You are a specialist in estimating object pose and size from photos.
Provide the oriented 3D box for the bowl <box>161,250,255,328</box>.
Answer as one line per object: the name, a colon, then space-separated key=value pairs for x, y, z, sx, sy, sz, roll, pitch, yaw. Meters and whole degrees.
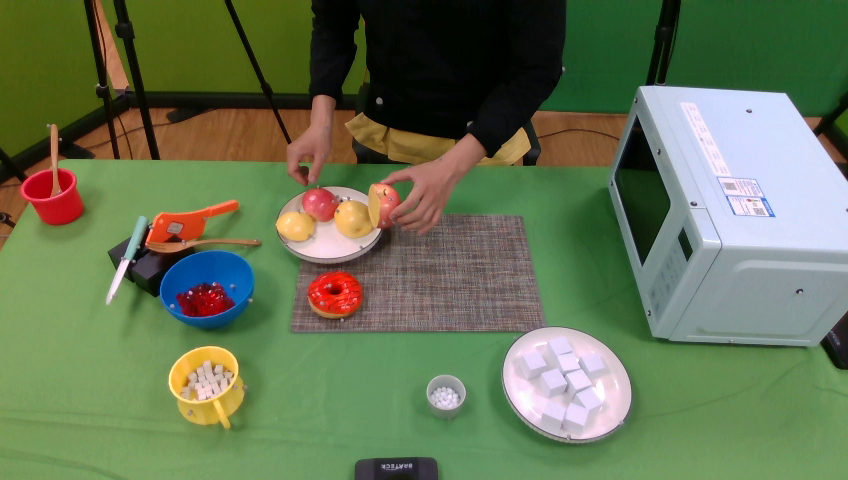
bowl: x=-0.362 y=0.097 z=1.040 sx=0.151 sy=0.077 sz=0.150 roll=2 pitch=45 yaw=-2

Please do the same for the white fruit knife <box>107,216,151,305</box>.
white fruit knife: x=-0.518 y=0.032 z=1.066 sx=0.027 sy=0.016 sz=0.206 roll=-18 pitch=45 yaw=19

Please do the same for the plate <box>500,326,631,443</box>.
plate: x=0.224 y=0.233 z=0.978 sx=0.208 sy=0.039 sz=0.206 roll=2 pitch=46 yaw=-2

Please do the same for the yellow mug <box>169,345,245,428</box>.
yellow mug: x=-0.322 y=0.230 z=0.922 sx=0.100 sy=0.064 sz=0.130 roll=-24 pitch=53 yaw=-25

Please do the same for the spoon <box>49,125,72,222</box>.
spoon: x=-0.717 y=-0.132 z=1.189 sx=0.042 sy=0.021 sz=0.193 roll=-3 pitch=90 yaw=-7

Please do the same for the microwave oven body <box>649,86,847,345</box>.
microwave oven body: x=0.567 y=-0.053 z=1.118 sx=0.326 sy=0.261 sz=0.439 roll=2 pitch=45 yaw=-1

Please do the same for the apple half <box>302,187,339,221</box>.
apple half: x=-0.204 y=-0.077 z=1.216 sx=0.081 sy=0.033 sz=0.081 roll=19 pitch=47 yaw=-20

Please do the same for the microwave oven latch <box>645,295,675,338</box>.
microwave oven latch: x=0.412 y=0.134 z=1.061 sx=0.030 sy=0.029 sz=0.078 roll=3 pitch=45 yaw=0

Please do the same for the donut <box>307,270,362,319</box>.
donut: x=-0.157 y=0.097 z=1.073 sx=0.099 sy=0.048 sz=0.098 roll=4 pitch=46 yaw=-4

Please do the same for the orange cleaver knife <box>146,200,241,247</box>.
orange cleaver knife: x=-0.435 y=-0.033 z=1.157 sx=0.012 sy=0.077 sz=0.211 roll=31 pitch=26 yaw=19

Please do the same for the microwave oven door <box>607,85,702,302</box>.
microwave oven door: x=0.423 y=-0.094 z=1.140 sx=0.039 sy=0.245 sz=0.353 roll=2 pitch=46 yaw=-1

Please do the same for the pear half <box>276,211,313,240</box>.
pear half: x=-0.244 y=-0.036 z=1.179 sx=0.070 sy=0.031 sz=0.088 roll=43 pitch=39 yaw=1

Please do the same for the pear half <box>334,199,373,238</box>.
pear half: x=-0.147 y=-0.060 z=1.210 sx=0.076 sy=0.056 sz=0.109 roll=-16 pitch=45 yaw=-25

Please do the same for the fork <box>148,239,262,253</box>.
fork: x=-0.398 y=0.008 z=1.117 sx=0.208 sy=0.019 sz=0.028 roll=-5 pitch=34 yaw=-37

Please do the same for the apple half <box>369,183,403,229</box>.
apple half: x=-0.067 y=-0.061 z=1.104 sx=0.053 sy=0.075 sz=0.080 roll=-4 pitch=44 yaw=-20

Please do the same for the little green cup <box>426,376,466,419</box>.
little green cup: x=0.033 y=0.248 z=0.950 sx=0.061 sy=0.039 sz=0.061 roll=2 pitch=46 yaw=-2

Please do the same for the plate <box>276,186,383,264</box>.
plate: x=-0.184 y=-0.027 z=1.194 sx=0.209 sy=0.038 sz=0.208 roll=2 pitch=46 yaw=-2
